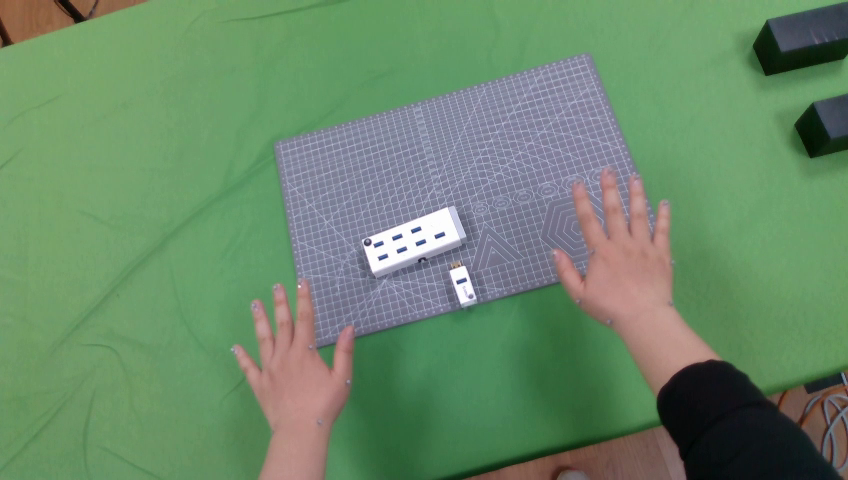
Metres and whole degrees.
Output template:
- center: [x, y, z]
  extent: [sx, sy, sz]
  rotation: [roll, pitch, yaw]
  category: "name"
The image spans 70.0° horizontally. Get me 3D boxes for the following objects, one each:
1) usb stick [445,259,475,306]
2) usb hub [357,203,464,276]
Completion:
- center: [0.041, 0.048, 0.730]
  extent: [0.021, 0.027, 0.058]
  rotation: [-21, 66, 5]
  category: "usb stick"
- center: [-0.017, -0.001, 0.755]
  extent: [0.125, 0.025, 0.049]
  rotation: [-21, 70, 0]
  category: "usb hub"
